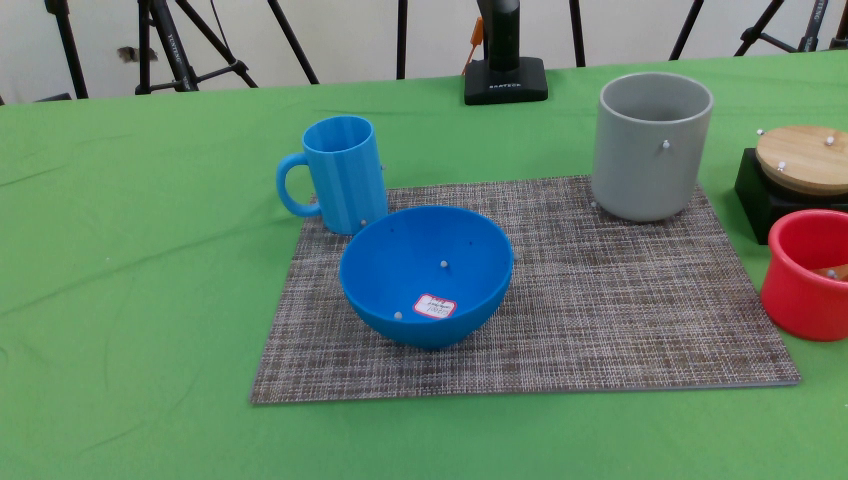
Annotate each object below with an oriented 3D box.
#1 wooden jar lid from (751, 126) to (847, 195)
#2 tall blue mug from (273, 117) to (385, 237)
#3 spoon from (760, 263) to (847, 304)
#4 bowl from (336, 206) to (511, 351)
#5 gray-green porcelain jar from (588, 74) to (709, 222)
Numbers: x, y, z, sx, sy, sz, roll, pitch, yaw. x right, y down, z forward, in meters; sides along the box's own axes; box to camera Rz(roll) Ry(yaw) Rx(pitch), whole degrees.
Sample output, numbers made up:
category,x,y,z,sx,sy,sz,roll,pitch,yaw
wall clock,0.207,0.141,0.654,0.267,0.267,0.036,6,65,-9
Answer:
category,x,y,z,sx,sy,sz,roll,pitch,yaw
wooden jar lid,0.382,-0.078,0.600,0.108,0.021,0.107,-5,40,5
tall blue mug,-0.099,-0.061,0.655,0.107,0.109,0.077,-34,48,-28
spoon,0.363,0.015,0.475,0.022,0.193,0.041,48,49,-8
bowl,0.003,0.045,0.539,0.151,0.077,0.150,-4,40,4
gray-green porcelain jar,0.226,-0.090,0.627,0.106,0.128,0.105,-4,41,4
